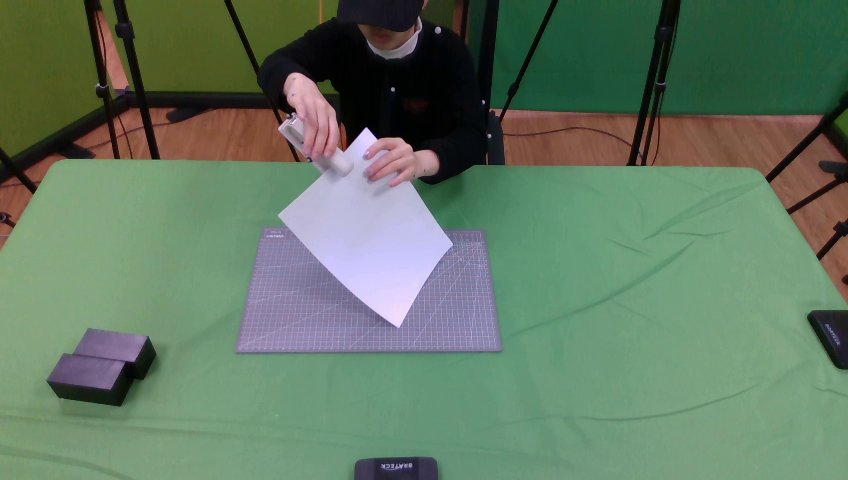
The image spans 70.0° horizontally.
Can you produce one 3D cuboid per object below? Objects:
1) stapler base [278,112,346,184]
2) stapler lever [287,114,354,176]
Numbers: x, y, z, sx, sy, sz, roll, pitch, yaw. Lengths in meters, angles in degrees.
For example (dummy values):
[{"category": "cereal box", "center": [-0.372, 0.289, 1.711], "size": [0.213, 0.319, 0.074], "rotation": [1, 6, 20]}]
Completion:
[{"category": "stapler base", "center": [-0.169, -0.145, 0.960], "size": [0.041, 0.131, 0.024], "rotation": [-55, 24, -22]}, {"category": "stapler lever", "center": [-0.158, -0.146, 0.939], "size": [0.040, 0.118, 0.027], "rotation": [-4, 46, 57]}]
